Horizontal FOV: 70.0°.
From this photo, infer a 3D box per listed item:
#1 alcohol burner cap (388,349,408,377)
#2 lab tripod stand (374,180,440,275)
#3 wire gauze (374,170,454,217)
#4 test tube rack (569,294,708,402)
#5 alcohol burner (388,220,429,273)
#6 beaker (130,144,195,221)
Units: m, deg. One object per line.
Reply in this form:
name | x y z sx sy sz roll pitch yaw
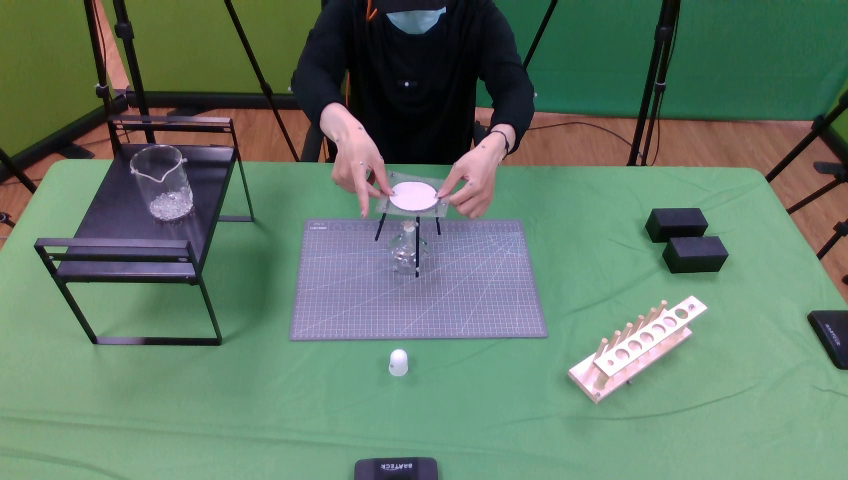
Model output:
alcohol burner cap | -0.042 0.197 0.989 0.034 0.048 0.033 3 46 -2
lab tripod stand | -0.020 -0.033 1.093 0.148 0.132 0.147 3 40 -3
wire gauze | -0.014 -0.079 1.043 0.121 0.011 0.124 9 38 4
test tube rack | 0.360 0.167 1.014 0.242 0.085 0.066 -25 53 -25
alcohol burner | -0.028 0.006 1.118 0.078 0.119 0.077 2 48 -2
beaker | -0.403 -0.085 0.943 0.074 0.101 0.083 -15 49 -17
